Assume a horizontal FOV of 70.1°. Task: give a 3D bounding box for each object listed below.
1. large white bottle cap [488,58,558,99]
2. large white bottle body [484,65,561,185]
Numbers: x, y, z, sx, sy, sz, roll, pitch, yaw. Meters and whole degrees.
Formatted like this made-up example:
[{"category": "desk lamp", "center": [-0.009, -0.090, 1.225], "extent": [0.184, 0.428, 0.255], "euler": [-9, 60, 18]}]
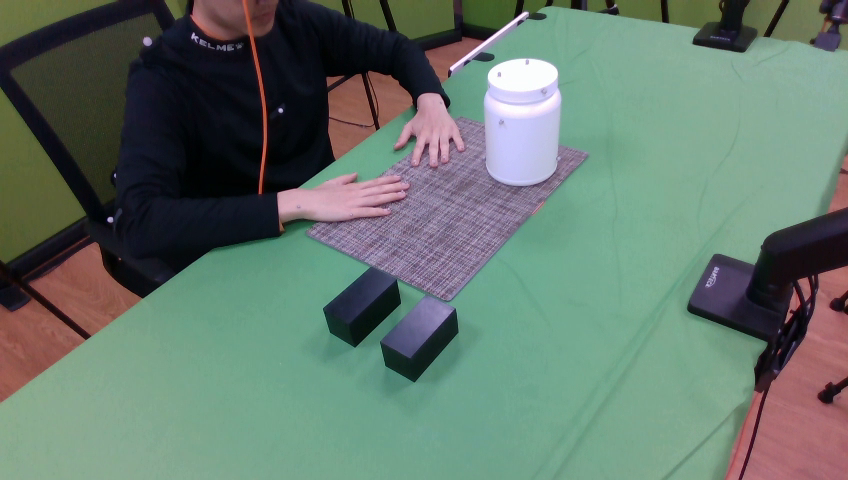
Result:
[{"category": "large white bottle cap", "center": [0.162, -0.267, 0.994], "extent": [0.115, 0.018, 0.114], "euler": [-3, 41, 3]}, {"category": "large white bottle body", "center": [0.169, -0.204, 1.049], "extent": [0.130, 0.185, 0.130], "euler": [-4, 41, 4]}]
